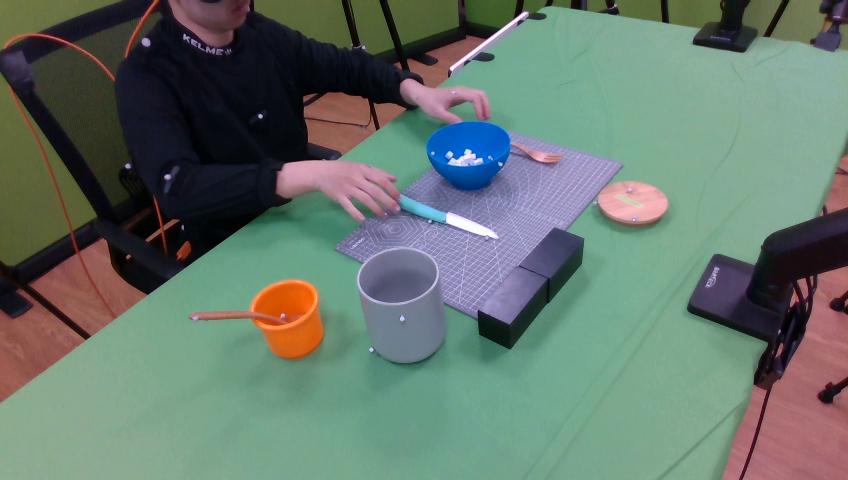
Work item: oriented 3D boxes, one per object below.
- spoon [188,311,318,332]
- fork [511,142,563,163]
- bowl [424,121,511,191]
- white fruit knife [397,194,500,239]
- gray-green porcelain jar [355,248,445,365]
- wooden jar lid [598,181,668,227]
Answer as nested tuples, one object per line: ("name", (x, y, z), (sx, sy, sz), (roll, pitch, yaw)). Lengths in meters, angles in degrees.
("spoon", (-0.216, 0.102, 0.783), (0.041, 0.195, 0.021), (26, 95, 39))
("fork", (0.168, -0.178, 1.151), (0.206, 0.019, 0.028), (23, 57, 28))
("bowl", (0.081, -0.140, 1.074), (0.151, 0.077, 0.150), (-4, 40, 4))
("white fruit knife", (0.036, -0.037, 1.006), (0.206, 0.016, 0.027), (21, 62, 28))
("gray-green porcelain jar", (-0.027, 0.091, 0.786), (0.106, 0.127, 0.105), (-4, 40, 4))
("wooden jar lid", (0.340, -0.058, 0.988), (0.108, 0.021, 0.108), (-5, 41, 5))
